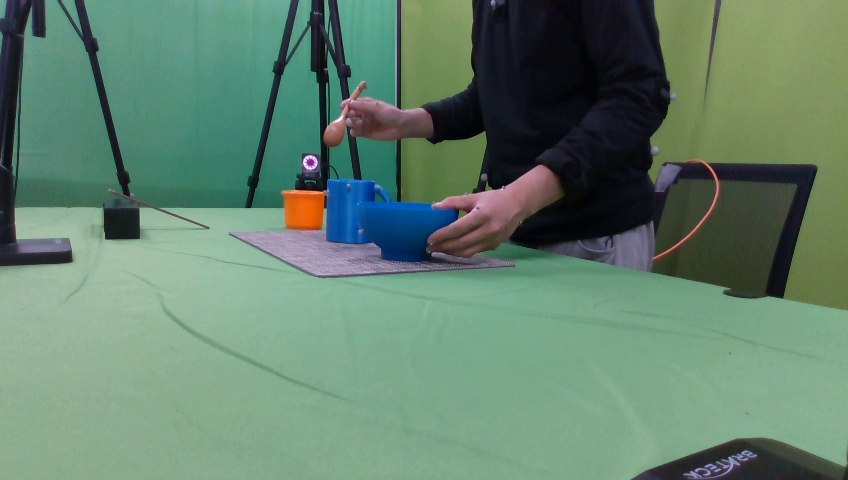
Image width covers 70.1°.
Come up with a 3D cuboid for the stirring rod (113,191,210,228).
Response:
[{"bbox_3d":[-0.484,-0.055,1.121,0.177,0.006,0.014,22,-7,-22],"label":"stirring rod"}]

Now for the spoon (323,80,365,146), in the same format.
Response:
[{"bbox_3d":[-0.151,-0.250,1.162,0.021,0.042,0.193,-9,44,29],"label":"spoon"}]

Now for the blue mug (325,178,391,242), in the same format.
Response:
[{"bbox_3d":[-0.111,-0.052,1.034,0.116,0.106,0.082,3,7,7],"label":"blue mug"}]

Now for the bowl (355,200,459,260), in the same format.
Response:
[{"bbox_3d":[-0.026,-0.015,0.877,0.151,0.077,0.151,2,7,0],"label":"bowl"}]
